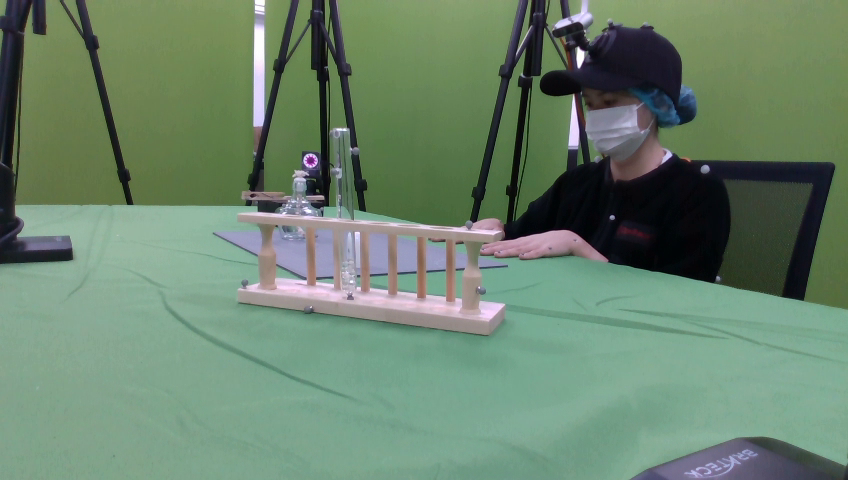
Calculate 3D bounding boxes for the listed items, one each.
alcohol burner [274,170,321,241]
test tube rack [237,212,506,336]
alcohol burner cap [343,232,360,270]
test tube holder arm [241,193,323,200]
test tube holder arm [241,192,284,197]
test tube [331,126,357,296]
[{"bbox_3d":[-0.212,-0.058,1.015,0.078,0.119,0.078,4,5,0],"label":"alcohol burner"},{"bbox_3d":[-0.049,0.024,0.552,0.242,0.085,0.067,5,8,18],"label":"test tube rack"},{"bbox_3d":[-0.087,0.013,0.777,0.034,0.048,0.034,3,7,0],"label":"alcohol burner cap"},{"bbox_3d":[-0.290,-0.090,1.253,0.179,0.013,0.015,-4,9,-39],"label":"test tube holder arm"},{"bbox_3d":[-0.325,-0.093,1.224,0.088,0.010,0.015,-4,9,-39],"label":"test tube holder arm"},{"bbox_3d":[-0.070,-0.025,0.534,0.017,0.150,0.017,-2,8,1],"label":"test tube"}]
